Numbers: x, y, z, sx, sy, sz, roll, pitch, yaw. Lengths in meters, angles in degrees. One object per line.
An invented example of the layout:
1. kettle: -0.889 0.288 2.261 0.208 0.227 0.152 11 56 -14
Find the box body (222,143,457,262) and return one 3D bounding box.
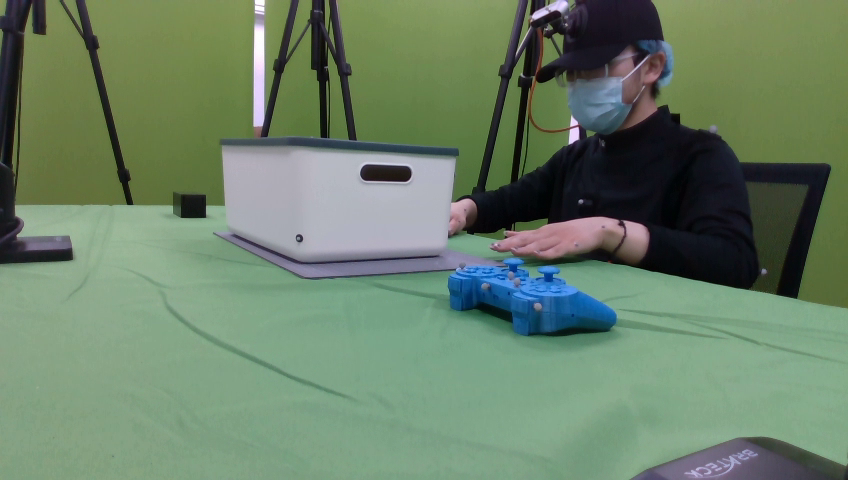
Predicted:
1. box body: -0.148 -0.073 0.956 0.255 0.160 0.362 -3 9 -33

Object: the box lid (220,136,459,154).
1. box lid: -0.144 -0.145 0.944 0.265 0.015 0.369 -2 9 -33

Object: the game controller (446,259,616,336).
1. game controller: 0.091 0.048 0.562 0.097 0.051 0.154 -7 10 -32
